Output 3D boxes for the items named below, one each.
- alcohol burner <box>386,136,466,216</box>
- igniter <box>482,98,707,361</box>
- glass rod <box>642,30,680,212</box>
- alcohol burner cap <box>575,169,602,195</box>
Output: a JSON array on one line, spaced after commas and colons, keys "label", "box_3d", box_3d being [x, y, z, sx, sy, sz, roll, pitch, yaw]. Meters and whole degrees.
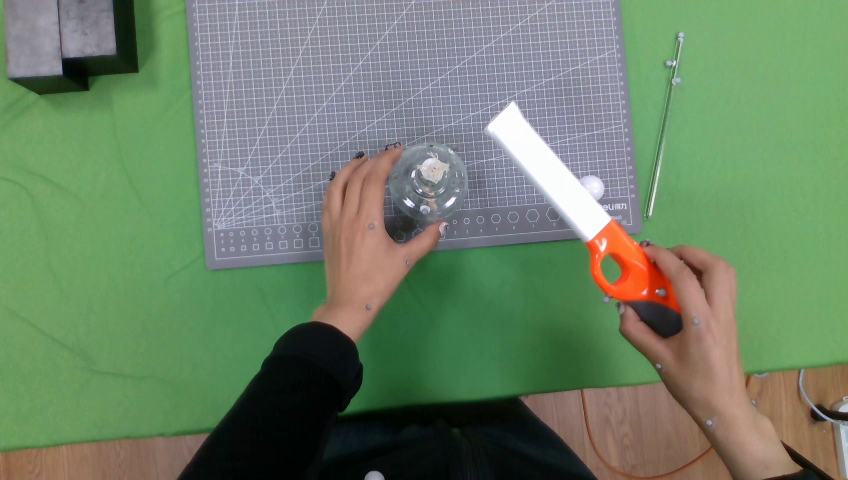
[{"label": "alcohol burner", "box_3d": [0.003, -0.063, 0.571, 0.078, 0.119, 0.077, 0, 85, -4]}, {"label": "igniter", "box_3d": [0.150, -0.004, 0.510, 0.057, 0.025, 0.277, -44, 99, -6]}, {"label": "glass rod", "box_3d": [0.252, -0.127, 0.646, 0.008, 0.008, 0.199, 11, 88, -3]}, {"label": "alcohol burner cap", "box_3d": [0.164, -0.055, 0.618, 0.034, 0.048, 0.034, 0, 86, -3]}]
